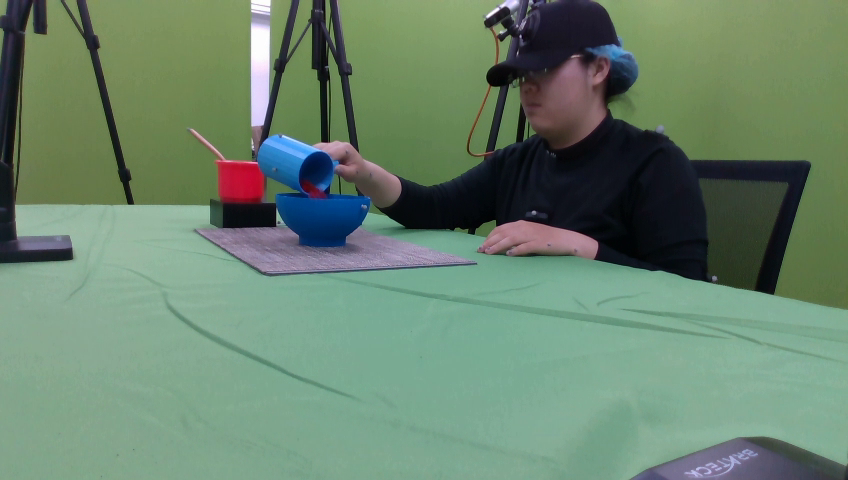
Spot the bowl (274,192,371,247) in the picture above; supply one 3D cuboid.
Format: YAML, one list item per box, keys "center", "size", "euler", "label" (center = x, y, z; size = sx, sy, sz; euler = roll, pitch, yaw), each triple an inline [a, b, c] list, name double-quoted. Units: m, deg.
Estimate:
- center: [-0.161, -0.032, 0.959]
  size: [0.151, 0.077, 0.151]
  euler: [3, 7, 0]
  label: "bowl"

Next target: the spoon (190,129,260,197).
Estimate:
- center: [-0.388, -0.150, 1.174]
  size: [0.193, 0.021, 0.042]
  euler: [48, 19, 7]
  label: "spoon"

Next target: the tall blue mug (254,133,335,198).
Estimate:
- center: [-0.208, -0.132, 1.016]
  size: [0.107, 0.078, 0.107]
  euler: [27, 51, 26]
  label: "tall blue mug"

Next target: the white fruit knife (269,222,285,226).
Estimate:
- center: [-0.222, -0.037, 1.261]
  size: [0.208, 0.016, 0.027]
  euler: [-4, -17, -32]
  label: "white fruit knife"
